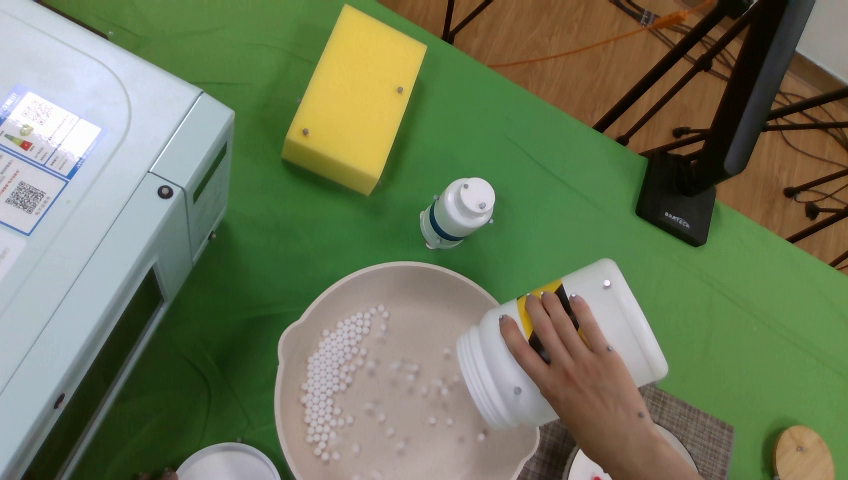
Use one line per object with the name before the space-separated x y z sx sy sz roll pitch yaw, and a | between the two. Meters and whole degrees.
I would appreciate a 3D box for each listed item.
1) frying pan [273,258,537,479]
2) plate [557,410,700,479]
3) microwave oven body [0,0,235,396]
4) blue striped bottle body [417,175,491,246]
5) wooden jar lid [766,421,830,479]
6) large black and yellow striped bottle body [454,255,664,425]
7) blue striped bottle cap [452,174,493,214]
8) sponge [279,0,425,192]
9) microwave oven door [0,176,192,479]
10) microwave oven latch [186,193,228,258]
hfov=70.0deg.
frying pan | -0.052 0.252 0.625 0.308 0.103 0.484 26 60 -9
plate | 0.251 0.319 0.751 0.210 0.038 0.208 6 73 -18
microwave oven body | -0.405 0.034 0.472 0.327 0.260 0.439 28 68 -11
blue striped bottle body | 0.039 -0.038 0.736 0.063 0.121 0.062 6 73 -18
wooden jar lid | 0.535 0.315 0.870 0.109 0.021 0.108 5 74 -18
large black and yellow striped bottle body | 0.135 0.109 0.630 0.184 0.131 0.130 -26 83 13
blue striped bottle cap | 0.056 -0.053 0.690 0.045 0.020 0.044 5 74 -18
sponge | -0.088 -0.181 0.763 0.119 0.061 0.205 22 69 -13
microwave oven door | -0.291 0.135 0.478 0.039 0.244 0.354 27 67 -10
microwave oven latch | -0.242 -0.022 0.654 0.030 0.029 0.079 30 67 -10
